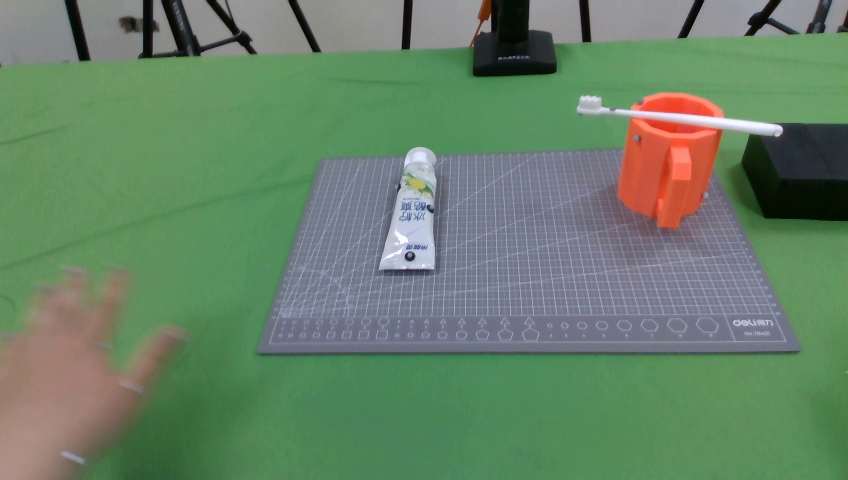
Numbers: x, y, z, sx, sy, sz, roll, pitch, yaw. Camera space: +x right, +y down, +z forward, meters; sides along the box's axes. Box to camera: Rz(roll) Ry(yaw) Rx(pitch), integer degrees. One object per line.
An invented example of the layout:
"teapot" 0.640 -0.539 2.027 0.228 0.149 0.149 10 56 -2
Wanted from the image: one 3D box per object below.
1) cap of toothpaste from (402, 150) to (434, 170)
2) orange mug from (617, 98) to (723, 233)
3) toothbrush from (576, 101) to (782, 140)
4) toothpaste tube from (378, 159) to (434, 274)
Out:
"cap of toothpaste" -0.007 -0.086 0.684 0.037 0.038 0.011 1 49 7
"orange mug" 0.241 -0.070 0.598 0.083 0.102 0.125 4 38 11
"toothbrush" 0.234 -0.112 0.567 0.181 0.017 0.014 12 36 19
"toothpaste tube" -0.014 -0.029 0.632 0.055 0.035 0.163 -4 46 8
